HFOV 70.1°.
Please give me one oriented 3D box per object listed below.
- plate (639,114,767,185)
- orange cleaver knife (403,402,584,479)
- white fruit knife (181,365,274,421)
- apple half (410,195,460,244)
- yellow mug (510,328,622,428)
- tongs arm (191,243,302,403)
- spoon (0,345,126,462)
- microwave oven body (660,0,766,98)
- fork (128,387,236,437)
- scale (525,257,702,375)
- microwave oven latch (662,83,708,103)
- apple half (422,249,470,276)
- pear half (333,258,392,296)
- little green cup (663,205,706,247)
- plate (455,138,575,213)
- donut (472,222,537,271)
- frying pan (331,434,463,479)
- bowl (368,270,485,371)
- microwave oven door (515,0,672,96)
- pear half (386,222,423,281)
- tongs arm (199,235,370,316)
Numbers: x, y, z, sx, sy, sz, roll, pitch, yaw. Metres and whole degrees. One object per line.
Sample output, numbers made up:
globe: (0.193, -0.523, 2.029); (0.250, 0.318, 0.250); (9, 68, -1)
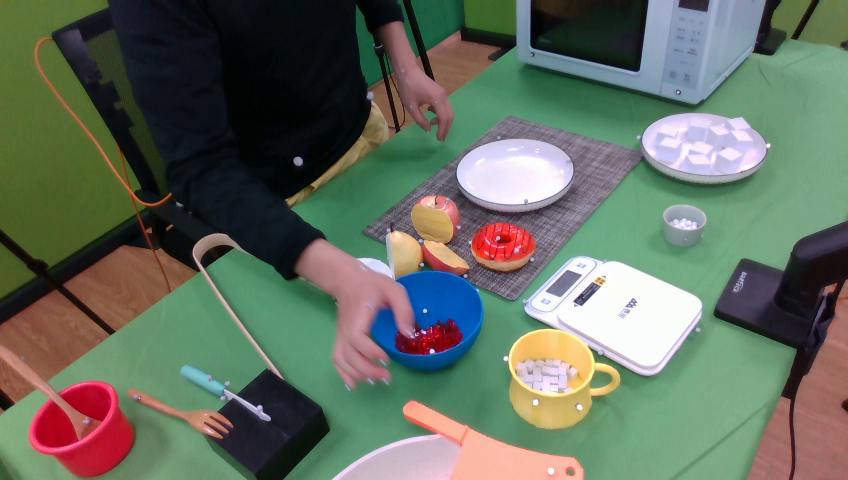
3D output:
plate: (0.489, -0.157, 1.074); (0.207, 0.039, 0.206); (-4, 40, 4)
orange cleaver knife: (0.062, 0.222, 0.609); (0.210, 0.012, 0.077); (15, 48, 25)
white fruit knife: (-0.245, 0.188, 0.747); (0.205, 0.027, 0.016); (9, 41, 41)
apple half: (0.024, -0.037, 0.970); (0.080, 0.075, 0.053); (12, 40, 28)
yellow mug: (0.168, 0.164, 0.722); (0.130, 0.064, 0.099); (0, 40, 8)
tongs arm: (-0.269, 0.109, 0.882); (0.028, 0.028, 0.384); (-35, 46, -19)
spoon: (-0.434, 0.192, 0.720); (0.194, 0.021, 0.042); (47, 53, -7)
microwave oven body: (0.472, -0.513, 1.317); (0.438, 0.261, 0.327); (26, 51, 34)
fork: (-0.305, 0.207, 0.744); (0.206, 0.019, 0.028); (3, 40, 36)
scale: (0.254, 0.091, 0.821); (0.199, 0.032, 0.149); (28, 51, 35)
microwave oven latch: (0.518, -0.296, 1.204); (0.078, 0.029, 0.030); (28, 52, 35)
apple half: (0.024, 0.040, 0.911); (0.081, 0.033, 0.081); (20, 3, -1)
pear half: (-0.093, 0.062, 0.906); (0.088, 0.031, 0.070); (-13, 43, -21)
little green cup: (0.396, -0.020, 0.926); (0.061, 0.039, 0.061); (-4, 40, 4)
plate: (0.159, -0.111, 1.063); (0.209, 0.038, 0.208); (-4, 40, 4)
donut: (0.123, 0.009, 0.923); (0.099, 0.048, 0.098); (-4, 37, 3)
frying pan: (-0.089, 0.306, 0.564); (0.487, 0.103, 0.306); (10, 41, 7)
bowl: (0.007, 0.118, 0.791); (0.151, 0.077, 0.150); (-4, 40, 4)
microwave oven door: (0.343, -0.455, 1.259); (0.353, 0.245, 0.039); (26, 51, 33)
pear half: (-0.029, 0.013, 0.897); (0.056, 0.110, 0.076); (-16, 46, -10)
tongs arm: (-0.209, 0.062, 0.924); (0.381, 0.026, 0.051); (23, 52, 32)
